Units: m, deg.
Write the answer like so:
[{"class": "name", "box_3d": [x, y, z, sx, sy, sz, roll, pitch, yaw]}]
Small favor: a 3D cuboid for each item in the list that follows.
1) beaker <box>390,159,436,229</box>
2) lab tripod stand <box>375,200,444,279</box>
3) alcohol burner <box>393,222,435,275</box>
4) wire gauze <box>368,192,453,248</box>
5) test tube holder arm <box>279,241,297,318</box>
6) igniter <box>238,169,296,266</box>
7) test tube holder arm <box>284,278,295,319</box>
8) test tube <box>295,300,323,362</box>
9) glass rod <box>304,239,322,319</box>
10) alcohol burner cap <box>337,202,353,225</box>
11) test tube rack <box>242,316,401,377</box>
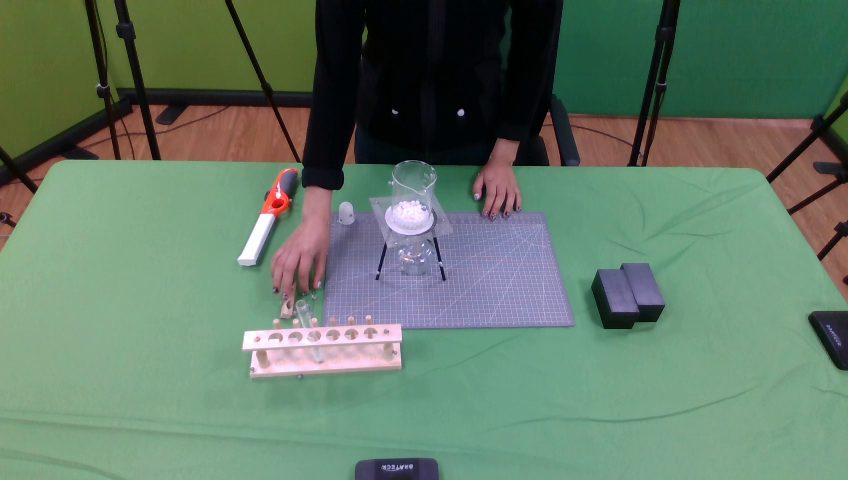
[{"class": "beaker", "box_3d": [-0.020, -0.073, 1.029, 0.074, 0.101, 0.083, -10, 48, -16]}, {"class": "lab tripod stand", "box_3d": [-0.023, 0.004, 1.114, 0.148, 0.132, 0.147, 4, 45, -3]}, {"class": "alcohol burner", "box_3d": [-0.018, 0.009, 1.122, 0.078, 0.119, 0.077, 2, 47, -2]}, {"class": "wire gauze", "box_3d": [-0.025, -0.041, 1.065, 0.122, 0.011, 0.124, -10, 46, -18]}, {"class": "test tube holder arm", "box_3d": [-0.248, 0.068, 1.113, 0.013, 0.015, 0.177, 24, 39, -27]}, {"class": "igniter", "box_3d": [-0.313, -0.055, 1.224, 0.057, 0.025, 0.275, 1, 45, 10]}, {"class": "test tube holder arm", "box_3d": [-0.241, 0.103, 1.084, 0.010, 0.015, 0.087, 25, 39, -26]}, {"class": "test tube", "box_3d": [-0.176, 0.143, 0.935, 0.017, 0.151, 0.017, -2, 46, 2]}, {"class": "glass rod", "box_3d": [-0.206, 0.068, 1.126, 0.008, 0.008, 0.198, 2, 44, -2]}, {"class": "alcohol burner cap", "box_3d": [-0.161, -0.056, 1.223, 0.034, 0.048, 0.033, 2, 46, -2]}, {"class": "test tube rack", "box_3d": [-0.161, 0.166, 0.983, 0.242, 0.085, 0.066, -2, 46, -6]}]
